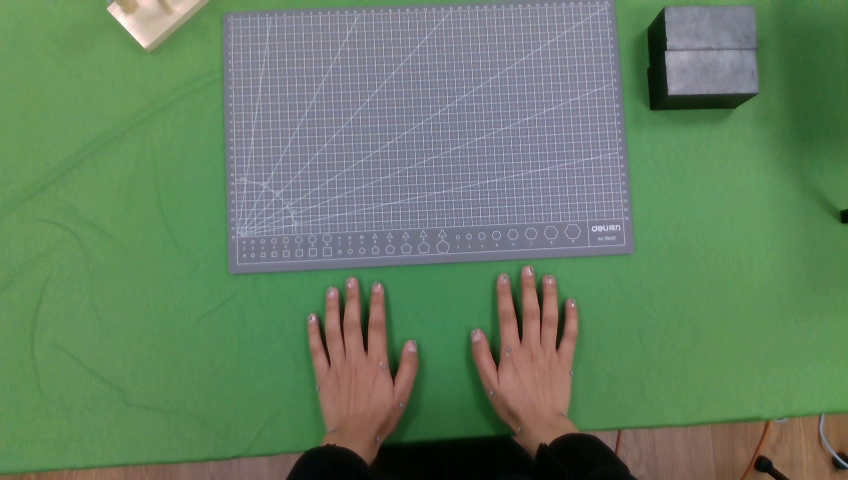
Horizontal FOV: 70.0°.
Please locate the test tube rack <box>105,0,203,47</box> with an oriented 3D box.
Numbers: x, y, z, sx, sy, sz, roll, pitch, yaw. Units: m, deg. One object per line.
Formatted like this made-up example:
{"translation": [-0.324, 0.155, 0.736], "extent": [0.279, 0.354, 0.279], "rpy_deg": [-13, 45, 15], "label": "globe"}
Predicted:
{"translation": [-0.247, -0.329, 0.655], "extent": [0.242, 0.085, 0.066], "rpy_deg": [-44, 86, -5], "label": "test tube rack"}
